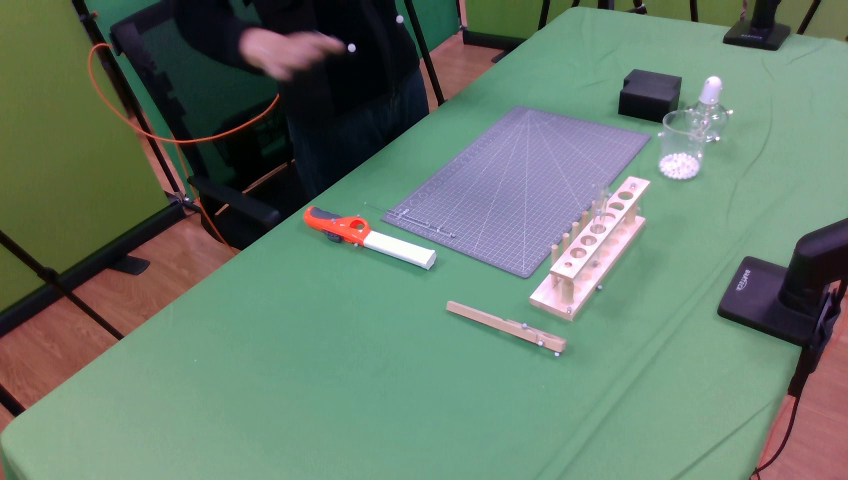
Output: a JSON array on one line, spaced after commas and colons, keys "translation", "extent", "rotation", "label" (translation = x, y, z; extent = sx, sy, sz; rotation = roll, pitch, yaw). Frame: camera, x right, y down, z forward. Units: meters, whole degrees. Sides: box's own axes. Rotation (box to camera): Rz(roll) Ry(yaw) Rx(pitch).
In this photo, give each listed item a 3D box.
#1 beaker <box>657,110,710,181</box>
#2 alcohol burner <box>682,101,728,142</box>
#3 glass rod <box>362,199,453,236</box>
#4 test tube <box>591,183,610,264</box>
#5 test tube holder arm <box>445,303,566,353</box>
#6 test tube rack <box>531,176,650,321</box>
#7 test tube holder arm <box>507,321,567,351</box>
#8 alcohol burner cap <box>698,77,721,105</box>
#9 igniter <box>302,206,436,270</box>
[{"translation": [0.438, -0.156, 1.024], "extent": [0.074, 0.101, 0.083], "rotation": [-14, 41, -4], "label": "beaker"}, {"translation": [0.513, -0.239, 1.097], "extent": [0.078, 0.119, 0.077], "rotation": [-4, 40, 4], "label": "alcohol burner"}, {"translation": [-0.031, -0.041, 1.041], "extent": [0.198, 0.008, 0.008], "rotation": [22, 50, 31], "label": "glass rod"}, {"translation": [0.242, -0.019, 0.832], "extent": [0.017, 0.151, 0.017], "rotation": [-5, 46, 6], "label": "test tube"}, {"translation": [0.107, 0.117, 0.824], "extent": [0.177, 0.015, 0.013], "rotation": [16, 11, 27], "label": "test tube holder arm"}, {"translation": [0.246, 0.002, 0.884], "extent": [0.066, 0.085, 0.243], "rotation": [22, 49, 32], "label": "test tube rack"}, {"translation": [0.148, 0.128, 0.808], "extent": [0.087, 0.015, 0.010], "rotation": [16, 11, 28], "label": "test tube holder arm"}, {"translation": [0.509, -0.266, 1.072], "extent": [0.034, 0.048, 0.033], "rotation": [-4, 48, 5], "label": "alcohol burner cap"}, {"translation": [-0.101, -0.007, 1.004], "extent": [0.274, 0.025, 0.057], "rotation": [19, 58, 29], "label": "igniter"}]
